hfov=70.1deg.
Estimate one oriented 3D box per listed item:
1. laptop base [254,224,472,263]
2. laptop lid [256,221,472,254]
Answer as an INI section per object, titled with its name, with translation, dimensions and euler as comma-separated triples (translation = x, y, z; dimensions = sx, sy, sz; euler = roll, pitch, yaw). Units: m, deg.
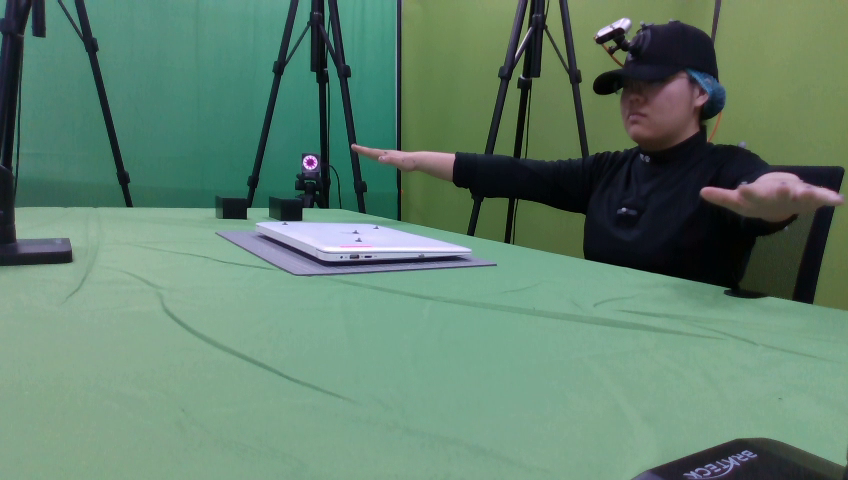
[laptop base]
translation = -0.115, 0.005, 0.973
dimensions = 0.237, 0.023, 0.352
euler = 2, 6, -31
[laptop lid]
translation = -0.112, -0.007, 0.972
dimensions = 0.243, 0.013, 0.355
euler = 1, 7, -29
